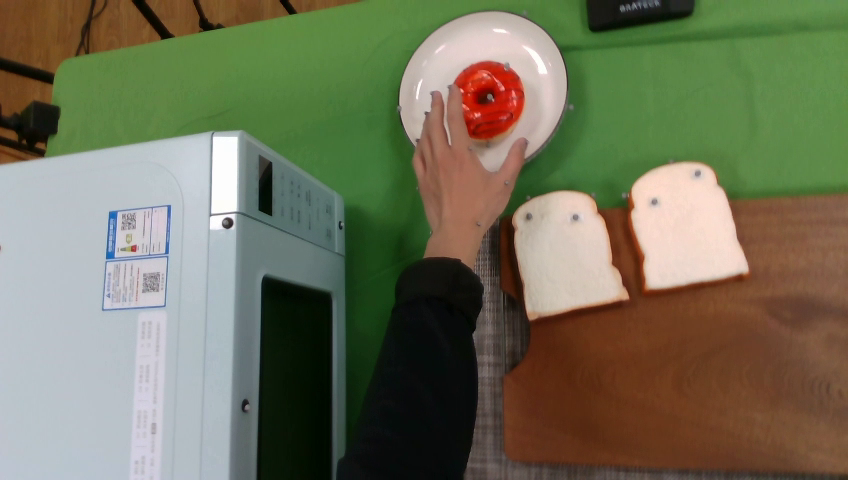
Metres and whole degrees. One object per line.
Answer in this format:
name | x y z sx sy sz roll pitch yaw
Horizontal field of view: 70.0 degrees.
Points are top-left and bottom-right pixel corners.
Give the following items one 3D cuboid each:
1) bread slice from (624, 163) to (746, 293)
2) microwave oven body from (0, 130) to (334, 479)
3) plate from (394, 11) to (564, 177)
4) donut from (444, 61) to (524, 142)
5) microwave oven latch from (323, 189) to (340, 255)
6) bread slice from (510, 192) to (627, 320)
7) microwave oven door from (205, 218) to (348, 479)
bread slice | 0.267 -0.016 0.638 0.105 0.019 0.131 -13 77 11
microwave oven body | -0.279 0.148 0.652 0.325 0.262 0.439 -5 79 13
plate | 0.067 -0.174 0.740 0.207 0.039 0.207 -3 79 14
donut | 0.071 -0.165 0.725 0.099 0.048 0.098 -3 79 18
microwave oven latch | -0.119 -0.021 0.742 0.030 0.030 0.079 -4 80 14
bread slice | 0.148 0.014 0.663 0.107 0.018 0.133 -17 75 11
microwave oven door | -0.137 0.174 0.604 0.039 0.245 0.354 -6 78 14
